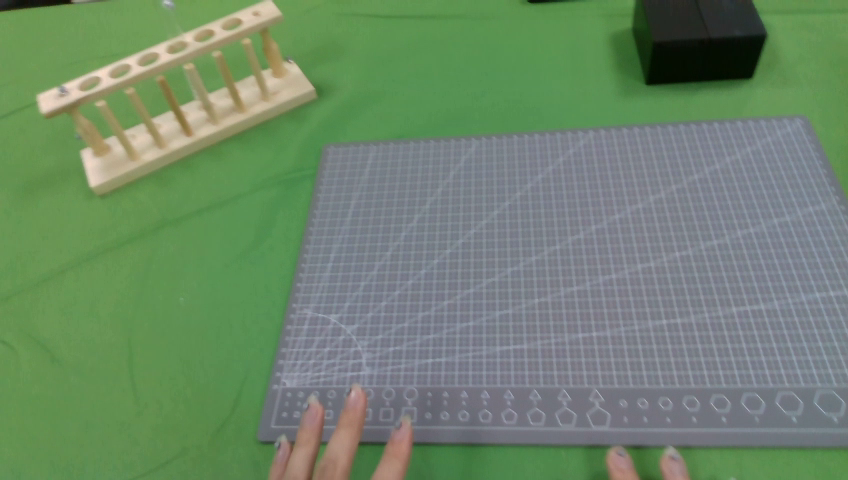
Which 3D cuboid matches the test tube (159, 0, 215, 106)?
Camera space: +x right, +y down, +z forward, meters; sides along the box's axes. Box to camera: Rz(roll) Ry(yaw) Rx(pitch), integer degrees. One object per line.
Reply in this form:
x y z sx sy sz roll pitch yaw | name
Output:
-0.234 -0.195 0.591 0.017 0.151 0.017 -3 48 3 | test tube

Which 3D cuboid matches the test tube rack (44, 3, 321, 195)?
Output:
-0.237 -0.145 0.616 0.242 0.086 0.066 -27 53 -12 | test tube rack
